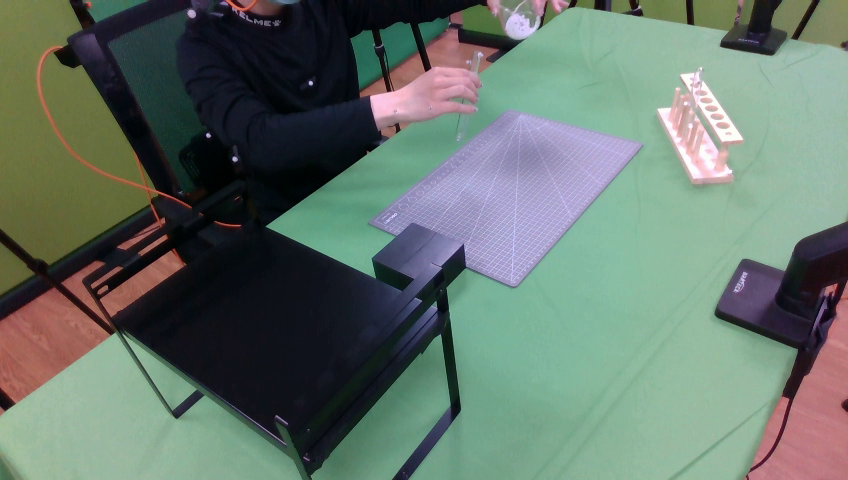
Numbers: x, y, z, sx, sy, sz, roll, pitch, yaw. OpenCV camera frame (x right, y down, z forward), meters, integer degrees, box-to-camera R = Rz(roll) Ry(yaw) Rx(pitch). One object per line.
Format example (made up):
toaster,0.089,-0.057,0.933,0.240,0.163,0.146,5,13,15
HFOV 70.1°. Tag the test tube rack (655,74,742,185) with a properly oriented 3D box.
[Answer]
test tube rack,0.488,-0.205,1.093,0.067,0.085,0.241,-3,41,5

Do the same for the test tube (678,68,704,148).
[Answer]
test tube,0.465,-0.228,1.054,0.017,0.151,0.017,-4,41,4

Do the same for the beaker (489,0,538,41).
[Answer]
beaker,0.162,-0.411,1.083,0.073,0.101,0.083,-4,72,19

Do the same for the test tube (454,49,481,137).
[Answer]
test tube,0.075,-0.251,1.042,0.017,0.150,0.017,11,23,-4
